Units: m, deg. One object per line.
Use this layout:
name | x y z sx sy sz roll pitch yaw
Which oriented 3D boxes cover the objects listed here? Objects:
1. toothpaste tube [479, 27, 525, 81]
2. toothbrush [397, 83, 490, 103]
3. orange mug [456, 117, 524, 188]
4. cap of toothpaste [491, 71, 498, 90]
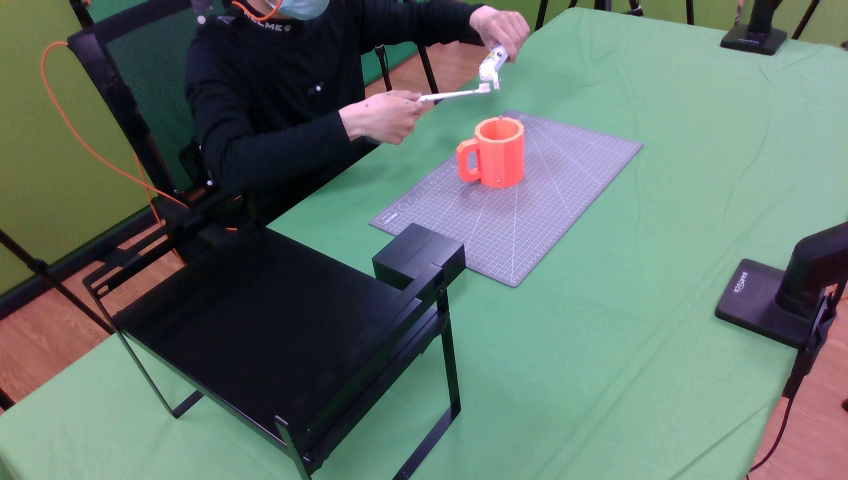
toothpaste tube | 0.149 -0.368 1.190 0.054 0.035 0.165 0 47 39
toothbrush | 0.037 -0.277 1.144 0.182 0.017 0.014 -11 45 -10
orange mug | 0.117 -0.152 1.071 0.127 0.101 0.083 -14 41 -15
cap of toothpaste | 0.133 -0.299 1.137 0.011 0.037 0.037 -8 40 3
